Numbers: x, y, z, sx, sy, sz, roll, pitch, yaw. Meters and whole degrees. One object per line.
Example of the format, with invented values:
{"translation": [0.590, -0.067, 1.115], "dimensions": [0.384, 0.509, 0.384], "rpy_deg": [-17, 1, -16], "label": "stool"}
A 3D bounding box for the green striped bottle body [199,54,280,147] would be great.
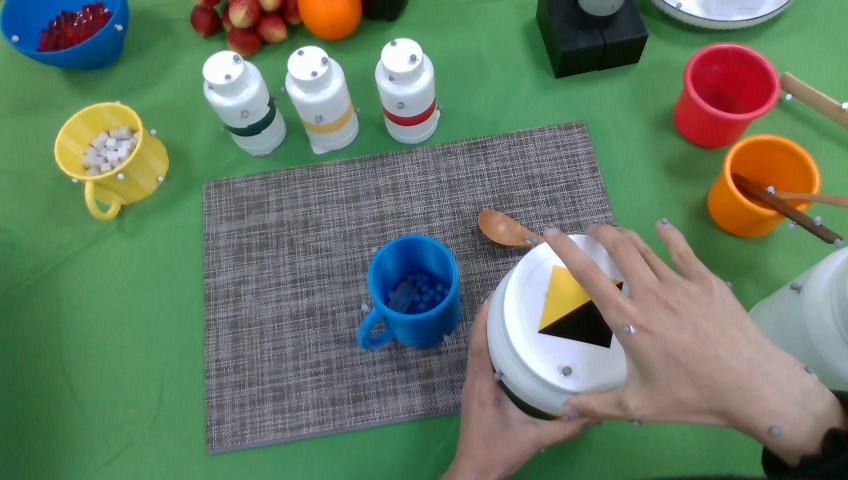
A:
{"translation": [-0.205, -0.159, 0.673], "dimensions": [0.063, 0.120, 0.062], "rpy_deg": [-1, 68, 3], "label": "green striped bottle body"}

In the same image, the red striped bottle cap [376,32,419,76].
{"translation": [-0.027, -0.190, 0.618], "dimensions": [0.044, 0.018, 0.044], "rpy_deg": [0, 66, 0], "label": "red striped bottle cap"}

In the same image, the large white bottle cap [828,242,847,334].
{"translation": [0.354, 0.041, 0.435], "dimensions": [0.115, 0.018, 0.114], "rpy_deg": [-1, 68, 3], "label": "large white bottle cap"}

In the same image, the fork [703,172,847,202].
{"translation": [0.363, -0.044, 0.578], "dimensions": [0.028, 0.019, 0.205], "rpy_deg": [-37, 26, -19], "label": "fork"}

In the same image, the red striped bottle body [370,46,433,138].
{"translation": [-0.024, -0.170, 0.667], "dimensions": [0.063, 0.120, 0.062], "rpy_deg": [-1, 67, 3], "label": "red striped bottle body"}

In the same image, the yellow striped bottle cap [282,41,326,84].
{"translation": [-0.123, -0.182, 0.620], "dimensions": [0.044, 0.019, 0.044], "rpy_deg": [1, 64, -1], "label": "yellow striped bottle cap"}

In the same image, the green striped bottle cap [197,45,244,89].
{"translation": [-0.210, -0.179, 0.624], "dimensions": [0.044, 0.020, 0.044], "rpy_deg": [-1, 67, 3], "label": "green striped bottle cap"}

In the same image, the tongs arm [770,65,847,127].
{"translation": [0.554, -0.088, 0.646], "dimensions": [0.382, 0.027, 0.050], "rpy_deg": [41, 73, 16], "label": "tongs arm"}

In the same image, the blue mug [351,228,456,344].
{"translation": [-0.023, 0.057, 0.581], "dimensions": [0.116, 0.106, 0.082], "rpy_deg": [-42, 71, -12], "label": "blue mug"}

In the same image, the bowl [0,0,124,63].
{"translation": [-0.438, -0.276, 0.754], "dimensions": [0.151, 0.077, 0.150], "rpy_deg": [-1, 69, 3], "label": "bowl"}

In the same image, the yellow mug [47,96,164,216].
{"translation": [-0.360, -0.089, 0.683], "dimensions": [0.100, 0.064, 0.130], "rpy_deg": [0, 69, 3], "label": "yellow mug"}

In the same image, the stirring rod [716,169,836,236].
{"translation": [0.334, -0.040, 0.587], "dimensions": [0.014, 0.006, 0.174], "rpy_deg": [-7, 25, -2], "label": "stirring rod"}

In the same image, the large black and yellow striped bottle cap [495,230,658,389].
{"translation": [0.109, 0.048, 0.437], "dimensions": [0.115, 0.019, 0.114], "rpy_deg": [0, 73, 0], "label": "large black and yellow striped bottle cap"}

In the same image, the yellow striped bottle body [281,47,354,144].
{"translation": [-0.118, -0.164, 0.669], "dimensions": [0.063, 0.121, 0.062], "rpy_deg": [-1, 68, 4], "label": "yellow striped bottle body"}

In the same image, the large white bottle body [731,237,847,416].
{"translation": [0.361, 0.074, 0.513], "dimensions": [0.130, 0.186, 0.129], "rpy_deg": [-1, 68, 3], "label": "large white bottle body"}

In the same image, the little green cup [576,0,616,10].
{"translation": [0.200, -0.296, 0.692], "dimensions": [0.061, 0.039, 0.061], "rpy_deg": [-1, 66, 2], "label": "little green cup"}

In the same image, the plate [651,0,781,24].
{"translation": [0.357, -0.352, 0.759], "dimensions": [0.209, 0.038, 0.207], "rpy_deg": [-1, 69, 3], "label": "plate"}

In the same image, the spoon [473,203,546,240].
{"translation": [0.142, 0.005, 0.637], "dimensions": [0.193, 0.022, 0.041], "rpy_deg": [20, 49, 10], "label": "spoon"}

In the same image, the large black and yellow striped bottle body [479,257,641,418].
{"translation": [0.114, 0.079, 0.521], "dimensions": [0.131, 0.185, 0.130], "rpy_deg": [-1, 68, 3], "label": "large black and yellow striped bottle body"}
